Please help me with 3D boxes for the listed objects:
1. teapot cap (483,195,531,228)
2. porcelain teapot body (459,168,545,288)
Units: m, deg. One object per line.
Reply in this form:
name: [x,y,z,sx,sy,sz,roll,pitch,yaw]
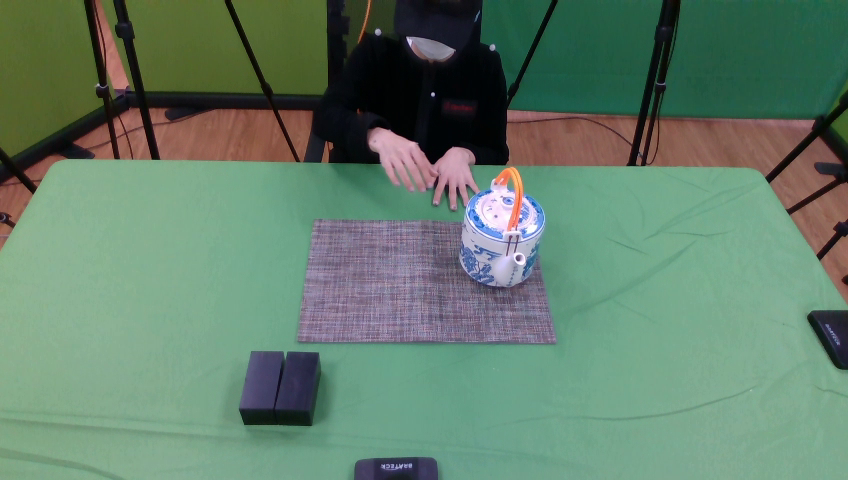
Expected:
teapot cap: [0.146,-0.053,1.061,0.085,0.044,0.084,3,45,-3]
porcelain teapot body: [0.146,-0.006,1.070,0.145,0.226,0.204,-4,46,-8]
